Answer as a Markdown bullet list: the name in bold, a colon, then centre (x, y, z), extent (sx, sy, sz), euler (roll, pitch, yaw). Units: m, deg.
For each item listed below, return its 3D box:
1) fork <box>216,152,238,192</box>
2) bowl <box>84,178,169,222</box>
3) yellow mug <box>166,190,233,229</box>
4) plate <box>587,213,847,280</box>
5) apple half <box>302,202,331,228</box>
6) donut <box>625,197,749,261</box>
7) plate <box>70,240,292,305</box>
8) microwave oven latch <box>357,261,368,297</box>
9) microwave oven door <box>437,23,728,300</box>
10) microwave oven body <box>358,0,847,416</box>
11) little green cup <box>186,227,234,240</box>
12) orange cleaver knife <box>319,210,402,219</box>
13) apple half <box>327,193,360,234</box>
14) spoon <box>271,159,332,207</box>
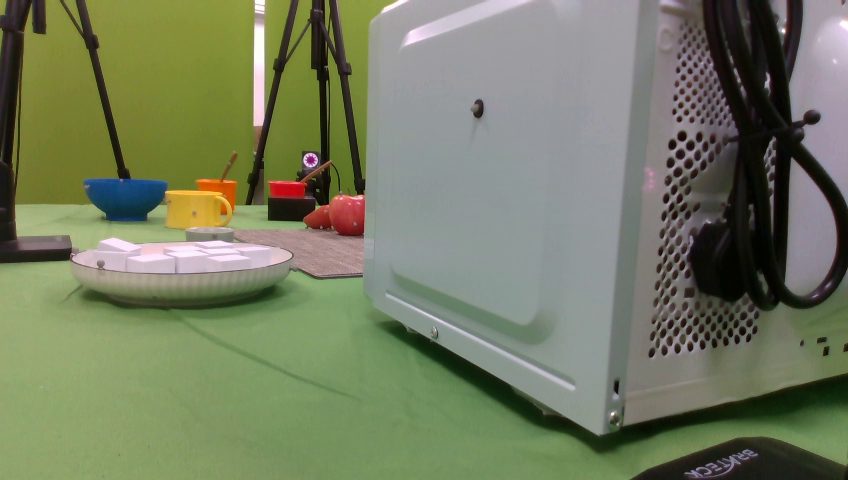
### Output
- **fork**: centre (-0.455, -0.132, 1.367), extent (0.028, 0.018, 0.207), euler (-2, -35, -37)
- **bowl**: centre (-0.584, -0.078, 1.194), extent (0.151, 0.077, 0.151), euler (3, 8, 0)
- **yellow mug**: centre (-0.415, -0.057, 1.132), extent (0.130, 0.064, 0.100), euler (6, 8, 16)
- **plate**: centre (0.244, 0.002, 0.512), extent (0.209, 0.038, 0.209), euler (1, 7, 0)
- **apple half**: centre (-0.193, -0.044, 1.169), extent (0.081, 0.032, 0.081), euler (-24, -11, -5)
- **donut**: centre (0.223, -0.008, 0.519), extent (0.099, 0.048, 0.099), euler (14, 2, 0)
- **plate**: centre (-0.241, 0.031, 0.618), extent (0.208, 0.039, 0.207), euler (2, 8, 0)
- **microwave oven latch**: centre (-0.019, 0.033, 0.531), extent (0.079, 0.029, 0.030), euler (-1, 7, -27)
- **microwave oven door**: centre (0.181, -0.072, 0.621), extent (0.358, 0.243, 0.039), euler (-2, 9, -29)
- **microwave oven body**: centre (0.211, -0.047, 0.474), extent (0.444, 0.260, 0.324), euler (-1, 7, -28)
- **little green cup**: centre (-0.284, 0.005, 0.805), extent (0.061, 0.038, 0.061), euler (2, 8, 0)
- **orange cleaver knife**: centre (-0.142, -0.058, 1.394), extent (0.077, 0.012, 0.212), euler (1, 7, 44)
- **apple half**: centre (-0.132, -0.047, 1.087), extent (0.081, 0.074, 0.053), euler (5, 10, -13)
- **spoon**: centre (-0.307, -0.142, 1.514), extent (0.193, 0.021, 0.041), euler (-41, 4, 8)
